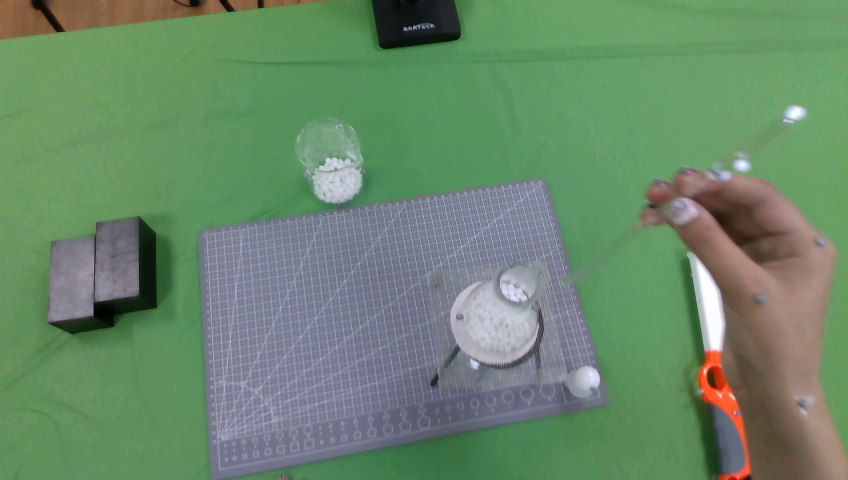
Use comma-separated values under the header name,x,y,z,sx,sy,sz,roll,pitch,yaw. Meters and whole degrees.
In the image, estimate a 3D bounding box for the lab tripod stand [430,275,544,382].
name,x,y,z,sx,sy,sz,roll,pitch,yaw
lab tripod stand,0.069,0.104,0.653,0.148,0.132,0.147,0,70,-1

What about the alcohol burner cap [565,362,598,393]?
name,x,y,z,sx,sy,sz,roll,pitch,yaw
alcohol burner cap,0.180,0.153,0.685,0.034,0.048,0.033,0,69,0

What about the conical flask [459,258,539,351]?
name,x,y,z,sx,sy,sz,roll,pitch,yaw
conical flask,0.073,0.053,0.538,0.075,0.122,0.075,1,70,-1

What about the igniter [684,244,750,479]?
name,x,y,z,sx,sy,sz,roll,pitch,yaw
igniter,0.340,0.135,0.707,0.057,0.025,0.274,5,68,-11

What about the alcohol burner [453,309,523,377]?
name,x,y,z,sx,sy,sz,roll,pitch,yaw
alcohol burner,0.071,0.109,0.661,0.078,0.120,0.077,0,69,1

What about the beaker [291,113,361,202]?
name,x,y,z,sx,sy,sz,roll,pitch,yaw
beaker,-0.114,-0.096,0.747,0.084,0.101,0.073,25,70,7

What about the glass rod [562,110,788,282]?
name,x,y,z,sx,sy,sz,roll,pitch,yaw
glass rod,0.136,-0.014,0.365,0.008,0.200,0.008,9,60,-16

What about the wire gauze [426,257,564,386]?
name,x,y,z,sx,sy,sz,roll,pitch,yaw
wire gauze,0.068,0.079,0.592,0.125,0.011,0.120,-3,71,-5
